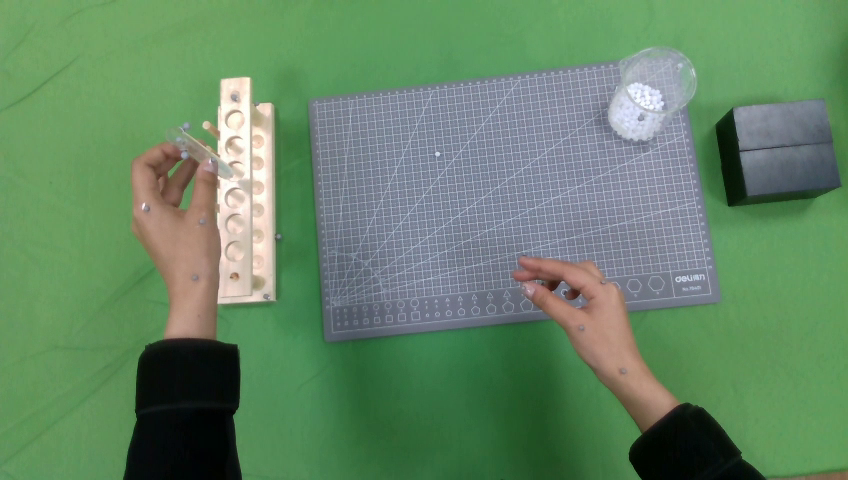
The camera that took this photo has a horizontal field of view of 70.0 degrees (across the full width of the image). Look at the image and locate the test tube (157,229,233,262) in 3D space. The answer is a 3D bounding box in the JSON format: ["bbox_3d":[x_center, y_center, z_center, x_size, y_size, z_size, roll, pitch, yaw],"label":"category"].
[{"bbox_3d":[-0.237,0.009,0.637,0.017,0.151,0.017,-1,80,5],"label":"test tube"}]

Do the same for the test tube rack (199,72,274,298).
[{"bbox_3d":[-0.218,-0.058,0.693,0.067,0.085,0.241,-3,81,3],"label":"test tube rack"}]

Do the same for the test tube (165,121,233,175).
[{"bbox_3d":[-0.204,-0.082,0.561,0.017,0.150,0.017,0,85,-2],"label":"test tube"}]

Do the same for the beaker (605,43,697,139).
[{"bbox_3d":[0.242,-0.161,0.670,0.083,0.100,0.074,31,84,10],"label":"beaker"}]
